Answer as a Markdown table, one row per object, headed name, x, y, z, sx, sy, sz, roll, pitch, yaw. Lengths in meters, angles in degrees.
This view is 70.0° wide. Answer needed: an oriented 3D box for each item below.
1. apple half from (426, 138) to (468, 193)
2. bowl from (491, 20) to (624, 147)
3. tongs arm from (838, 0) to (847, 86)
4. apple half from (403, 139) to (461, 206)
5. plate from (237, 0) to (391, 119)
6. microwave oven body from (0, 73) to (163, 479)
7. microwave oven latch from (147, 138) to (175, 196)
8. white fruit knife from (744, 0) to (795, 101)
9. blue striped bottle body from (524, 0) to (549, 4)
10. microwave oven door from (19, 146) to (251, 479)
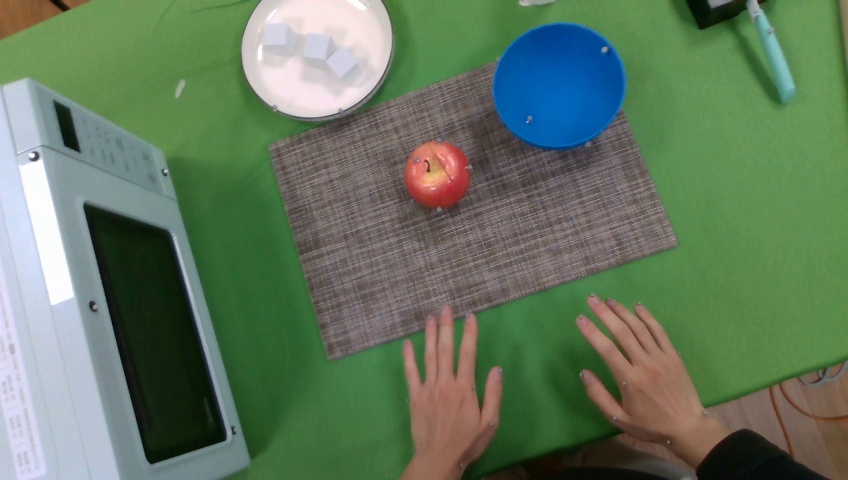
| name | x | y | z | sx | sy | sz | roll | pitch | yaw |
| --- | --- | --- | --- | --- | --- | --- | --- | --- | --- |
| apple half | 0.035 | -0.095 | 0.736 | 0.033 | 0.081 | 0.081 | -34 | 78 | 5 |
| bowl | 0.157 | -0.175 | 0.727 | 0.151 | 0.077 | 0.151 | -1 | 82 | 9 |
| tongs arm | 0.512 | -0.232 | 0.713 | 0.028 | 0.028 | 0.386 | -2 | 82 | 6 |
| apple half | 0.003 | -0.074 | 0.739 | 0.053 | 0.075 | 0.080 | -35 | 81 | 7 |
| plate | -0.144 | -0.257 | 0.810 | 0.207 | 0.039 | 0.207 | -1 | 82 | 8 |
| microwave oven body | -0.451 | 0.108 | 0.684 | 0.326 | 0.261 | 0.439 | -21 | 80 | 4 |
| microwave oven latch | -0.356 | -0.092 | 0.798 | 0.030 | 0.029 | 0.079 | -20 | 80 | 4 |
| white fruit knife | 0.393 | -0.264 | 0.714 | 0.016 | 0.027 | 0.207 | -22 | 90 | 4 |
| blue striped bottle body | 0.140 | -0.348 | 0.737 | 0.063 | 0.121 | 0.063 | -1 | 81 | 9 |
| microwave oven door | -0.302 | 0.095 | 0.659 | 0.039 | 0.245 | 0.354 | -21 | 79 | 5 |
